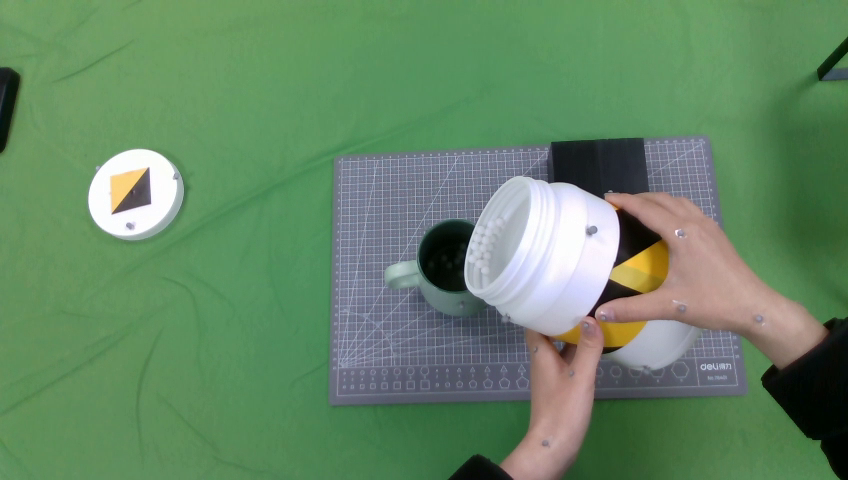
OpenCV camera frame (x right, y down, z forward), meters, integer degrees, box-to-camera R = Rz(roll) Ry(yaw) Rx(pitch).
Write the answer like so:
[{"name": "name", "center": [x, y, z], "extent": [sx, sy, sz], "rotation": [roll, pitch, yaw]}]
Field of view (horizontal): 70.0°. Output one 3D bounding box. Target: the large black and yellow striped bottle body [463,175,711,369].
[{"name": "large black and yellow striped bottle body", "center": [0.139, 0.027, 0.537], "extent": [0.185, 0.130, 0.130], "rotation": [22, 76, -17]}]

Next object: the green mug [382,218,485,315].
[{"name": "green mug", "center": [0.017, 0.031, 0.647], "extent": [0.125, 0.105, 0.092], "rotation": [-9, 74, 2]}]

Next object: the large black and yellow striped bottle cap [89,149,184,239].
[{"name": "large black and yellow striped bottle cap", "center": [-0.357, -0.058, 0.749], "extent": [0.115, 0.019, 0.114], "rotation": [-1, 74, 4]}]
